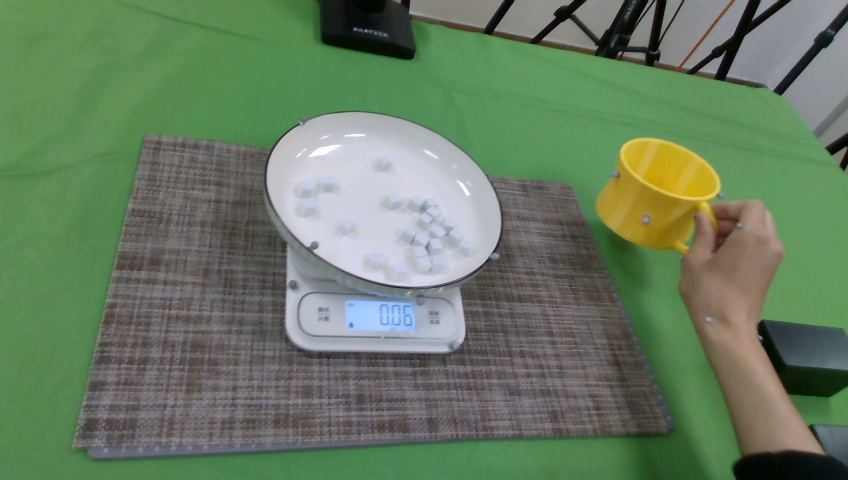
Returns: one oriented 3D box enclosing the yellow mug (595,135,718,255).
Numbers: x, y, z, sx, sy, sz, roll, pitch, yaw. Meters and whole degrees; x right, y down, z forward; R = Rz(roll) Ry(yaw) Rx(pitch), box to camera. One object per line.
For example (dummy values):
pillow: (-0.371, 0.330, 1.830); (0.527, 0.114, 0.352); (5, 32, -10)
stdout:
yellow mug: (0.238, -0.040, 0.601); (0.100, 0.064, 0.129); (-11, 49, -25)

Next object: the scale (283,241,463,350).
scale: (-0.046, 0.003, 0.534); (0.149, 0.032, 0.198); (5, 50, -17)

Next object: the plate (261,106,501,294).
plate: (-0.036, -0.036, 0.526); (0.210, 0.038, 0.207); (12, 48, -12)
